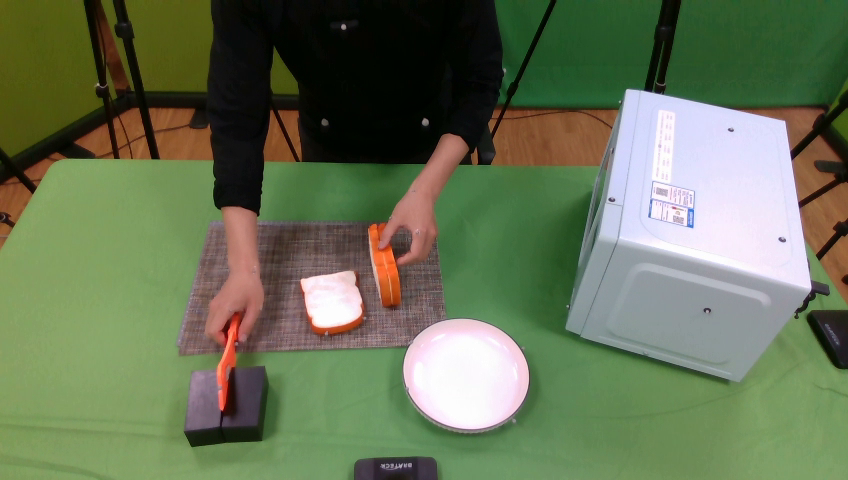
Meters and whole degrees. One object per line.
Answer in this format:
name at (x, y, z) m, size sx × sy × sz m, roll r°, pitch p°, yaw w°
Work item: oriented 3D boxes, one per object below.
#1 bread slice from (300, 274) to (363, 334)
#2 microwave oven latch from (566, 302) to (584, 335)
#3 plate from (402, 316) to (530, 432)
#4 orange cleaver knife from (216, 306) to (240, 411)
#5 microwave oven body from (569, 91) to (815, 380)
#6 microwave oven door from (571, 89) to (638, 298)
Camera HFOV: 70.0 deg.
bread slice at (-0.164, 0.113, 1.076) m, size 0.107 × 0.018 × 0.133 m, roll -11°, pitch 39°, yaw -7°
microwave oven latch at (0.268, 0.126, 1.059) m, size 0.030 × 0.029 × 0.079 m, roll 16°, pitch 46°, yaw 12°
plate at (0.066, 0.217, 0.982) m, size 0.208 × 0.039 × 0.206 m, roll 2°, pitch 46°, yaw -2°
orange cleaver knife at (-0.307, 0.180, 0.957) m, size 0.012 × 0.077 × 0.210 m, roll -2°, pitch 25°, yaw -8°
microwave oven body at (0.468, -0.022, 1.082) m, size 0.325 × 0.261 × 0.440 m, roll 15°, pitch 46°, yaw 11°
microwave oven door at (0.343, -0.091, 1.132) m, size 0.039 × 0.245 × 0.354 m, roll 15°, pitch 47°, yaw 10°
